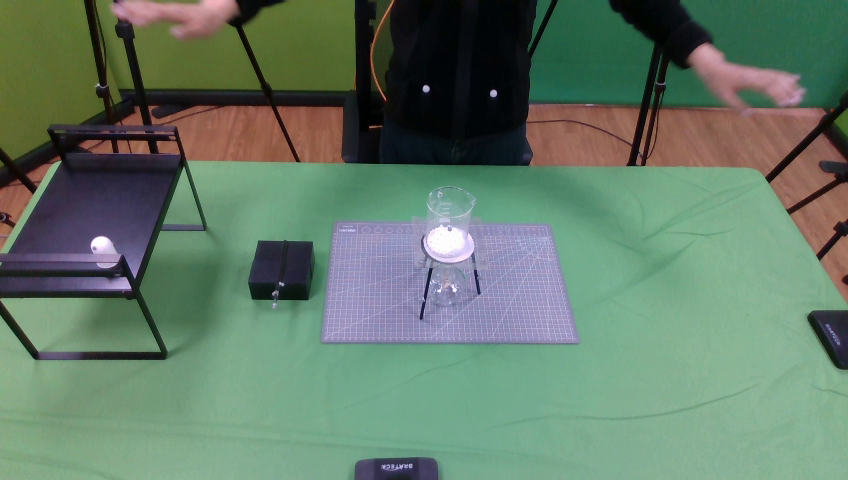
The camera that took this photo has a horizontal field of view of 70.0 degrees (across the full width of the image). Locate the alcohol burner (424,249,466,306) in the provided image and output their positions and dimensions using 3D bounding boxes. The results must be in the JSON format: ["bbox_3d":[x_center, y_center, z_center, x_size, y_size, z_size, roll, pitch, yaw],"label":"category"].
[{"bbox_3d":[0.038,0.061,1.075,0.078,0.120,0.077,2,44,-1],"label":"alcohol burner"}]

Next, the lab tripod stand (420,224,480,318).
[{"bbox_3d":[0.034,0.051,1.070,0.148,0.132,0.147,3,48,-3],"label":"lab tripod stand"}]

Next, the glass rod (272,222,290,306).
[{"bbox_3d":[-0.255,0.039,1.084,0.008,0.008,0.198,1,46,-3],"label":"glass rod"}]

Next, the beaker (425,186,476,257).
[{"bbox_3d":[0.041,-0.028,0.989,0.084,0.101,0.073,-12,48,-15],"label":"beaker"}]

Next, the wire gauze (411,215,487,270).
[{"bbox_3d":[0.041,0.003,1.026,0.125,0.011,0.120,0,46,-1],"label":"wire gauze"}]

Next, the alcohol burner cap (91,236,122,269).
[{"bbox_3d":[-0.465,0.015,0.883,0.034,0.048,0.033,1,47,-1],"label":"alcohol burner cap"}]
